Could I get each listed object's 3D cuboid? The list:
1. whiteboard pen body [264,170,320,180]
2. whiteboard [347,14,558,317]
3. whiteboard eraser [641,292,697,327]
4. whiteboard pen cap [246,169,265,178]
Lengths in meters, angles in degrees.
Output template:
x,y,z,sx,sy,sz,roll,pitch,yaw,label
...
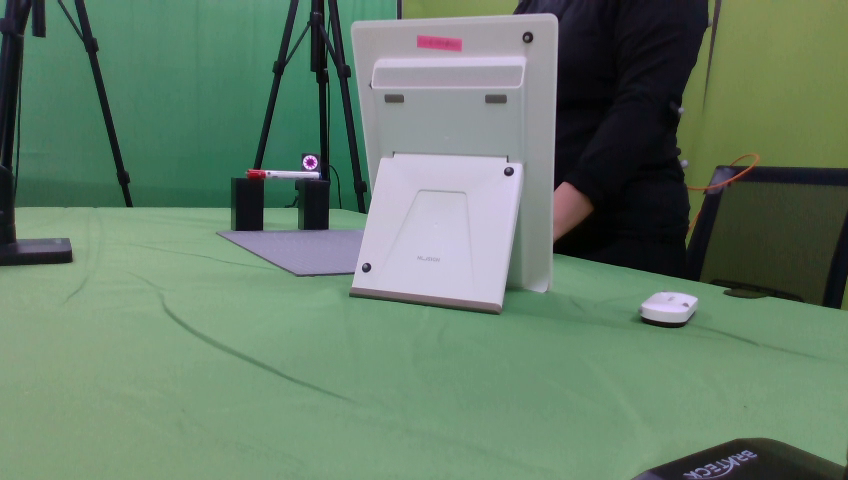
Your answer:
x,y,z,sx,sy,sz,roll,pitch,yaw,label
-0.269,-0.127,1.179,0.141,0.017,0.017,-2,8,-36,whiteboard pen body
0.012,-0.056,0.609,0.216,0.305,0.144,5,27,20,whiteboard
0.240,0.066,0.590,0.041,0.019,0.102,6,7,31,whiteboard eraser
-0.318,-0.125,1.143,0.032,0.017,0.017,-1,8,-35,whiteboard pen cap
